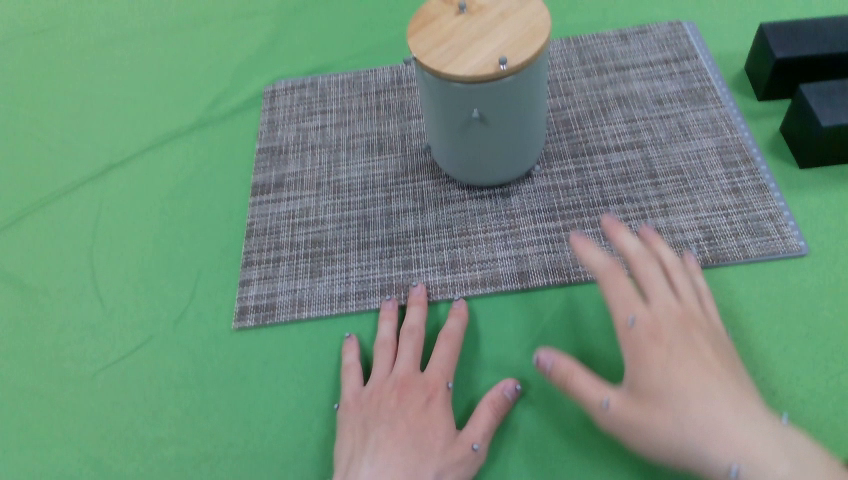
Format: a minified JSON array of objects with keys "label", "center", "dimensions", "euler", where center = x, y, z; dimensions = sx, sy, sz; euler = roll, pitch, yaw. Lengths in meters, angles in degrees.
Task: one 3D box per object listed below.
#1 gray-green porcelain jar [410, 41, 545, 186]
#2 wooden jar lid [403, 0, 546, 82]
[{"label":"gray-green porcelain jar","center":[0.048,-0.117,0.512],"dimensions":[0.106,0.128,0.105],"euler":[-4,54,6]},{"label":"wooden jar lid","center":[0.038,-0.154,0.461],"dimensions":[0.108,0.021,0.107],"euler":[-4,57,6]}]
